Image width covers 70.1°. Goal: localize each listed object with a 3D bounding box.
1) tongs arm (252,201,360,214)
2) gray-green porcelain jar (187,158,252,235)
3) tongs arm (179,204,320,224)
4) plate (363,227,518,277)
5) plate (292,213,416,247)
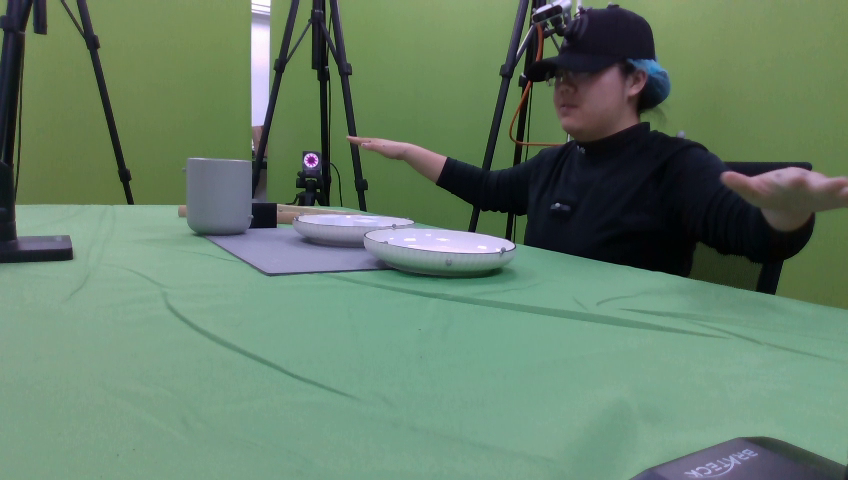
[{"bbox_3d":[-0.307,-0.064,1.349,0.384,0.026,0.051,7,8,20],"label":"tongs arm"},{"bbox_3d":[-0.350,-0.075,1.036,0.106,0.126,0.106,3,8,0],"label":"gray-green porcelain jar"},{"bbox_3d":[-0.330,-0.052,1.270,0.387,0.028,0.028,4,5,6],"label":"tongs arm"},{"bbox_3d":[0.022,0.016,0.817,0.209,0.038,0.209,3,9,0],"label":"plate"},{"bbox_3d":[-0.118,-0.017,1.024,0.208,0.039,0.207,2,8,0],"label":"plate"}]
